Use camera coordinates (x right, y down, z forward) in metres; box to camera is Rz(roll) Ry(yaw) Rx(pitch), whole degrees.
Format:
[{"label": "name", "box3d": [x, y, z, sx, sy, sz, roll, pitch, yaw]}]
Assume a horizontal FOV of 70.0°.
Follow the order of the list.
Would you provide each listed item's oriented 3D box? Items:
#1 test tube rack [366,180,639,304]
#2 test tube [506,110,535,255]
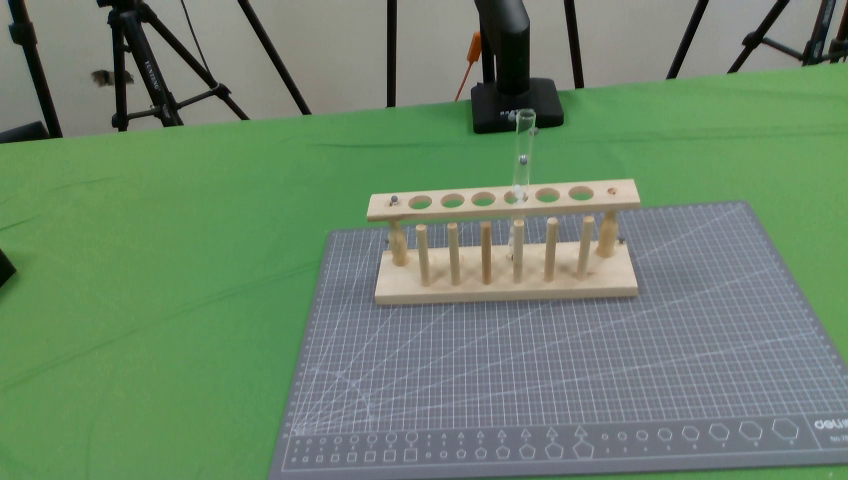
[{"label": "test tube rack", "box3d": [0.071, 0.004, 0.565, 0.242, 0.086, 0.066, -3, 41, 7]}, {"label": "test tube", "box3d": [0.086, -0.046, 0.543, 0.017, 0.151, 0.017, -1, 39, 1]}]
